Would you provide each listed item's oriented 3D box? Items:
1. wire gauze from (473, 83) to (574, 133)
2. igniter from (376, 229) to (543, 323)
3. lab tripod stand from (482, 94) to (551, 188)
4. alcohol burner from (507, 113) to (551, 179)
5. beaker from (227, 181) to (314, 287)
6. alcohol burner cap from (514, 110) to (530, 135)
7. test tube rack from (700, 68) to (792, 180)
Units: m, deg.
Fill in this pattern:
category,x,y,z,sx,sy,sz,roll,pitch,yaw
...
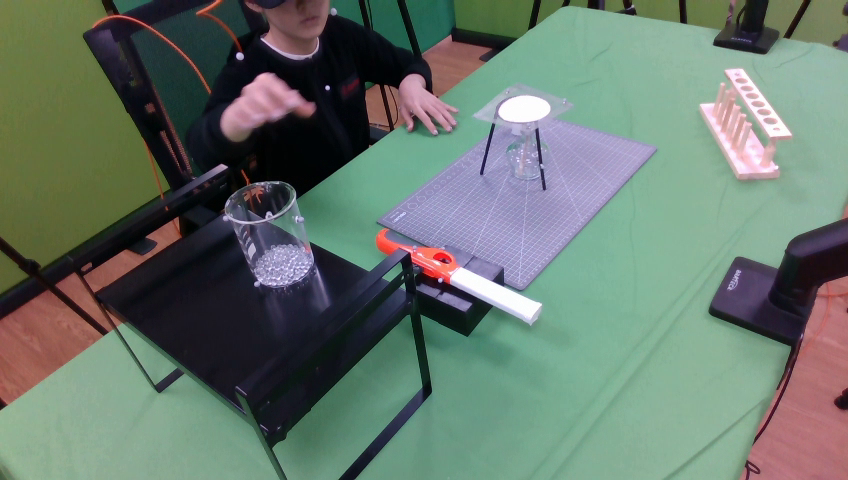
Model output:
category,x,y,z,sx,sy,sz,roll,pitch,yaw
wire gauze,0.167,-0.221,1.013,0.120,0.011,0.125,30,55,35
igniter,0.038,0.044,0.843,0.274,0.025,0.057,25,47,29
lab tripod stand,0.172,-0.176,1.064,0.148,0.132,0.147,-5,42,5
alcohol burner,0.186,-0.169,1.069,0.078,0.119,0.077,-5,39,4
beaker,-0.166,-0.006,0.670,0.074,0.101,0.083,-8,40,0
alcohol burner cap,0.194,-0.235,1.200,0.034,0.048,0.033,-5,42,5
test tube rack,0.572,-0.215,1.090,0.066,0.085,0.241,-3,41,7
